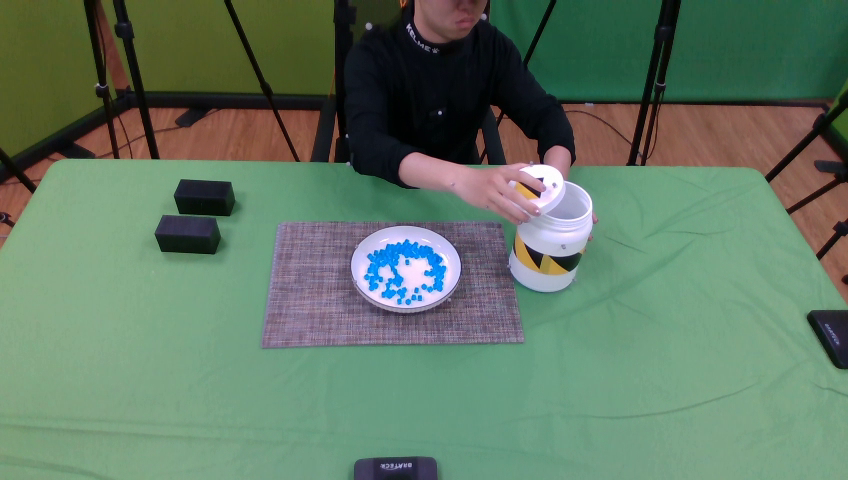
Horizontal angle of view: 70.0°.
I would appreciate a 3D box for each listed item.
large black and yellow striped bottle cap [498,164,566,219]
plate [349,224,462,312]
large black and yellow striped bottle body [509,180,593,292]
[{"bbox_3d":[0.181,-0.084,1.019,0.115,0.019,0.114,-18,42,17],"label":"large black and yellow striped bottle cap"},{"bbox_3d":[-0.035,0.054,1.126,0.208,0.039,0.206,2,46,-2],"label":"plate"},{"bbox_3d":[0.232,-0.008,1.108,0.131,0.185,0.130,2,46,-2],"label":"large black and yellow striped bottle body"}]
